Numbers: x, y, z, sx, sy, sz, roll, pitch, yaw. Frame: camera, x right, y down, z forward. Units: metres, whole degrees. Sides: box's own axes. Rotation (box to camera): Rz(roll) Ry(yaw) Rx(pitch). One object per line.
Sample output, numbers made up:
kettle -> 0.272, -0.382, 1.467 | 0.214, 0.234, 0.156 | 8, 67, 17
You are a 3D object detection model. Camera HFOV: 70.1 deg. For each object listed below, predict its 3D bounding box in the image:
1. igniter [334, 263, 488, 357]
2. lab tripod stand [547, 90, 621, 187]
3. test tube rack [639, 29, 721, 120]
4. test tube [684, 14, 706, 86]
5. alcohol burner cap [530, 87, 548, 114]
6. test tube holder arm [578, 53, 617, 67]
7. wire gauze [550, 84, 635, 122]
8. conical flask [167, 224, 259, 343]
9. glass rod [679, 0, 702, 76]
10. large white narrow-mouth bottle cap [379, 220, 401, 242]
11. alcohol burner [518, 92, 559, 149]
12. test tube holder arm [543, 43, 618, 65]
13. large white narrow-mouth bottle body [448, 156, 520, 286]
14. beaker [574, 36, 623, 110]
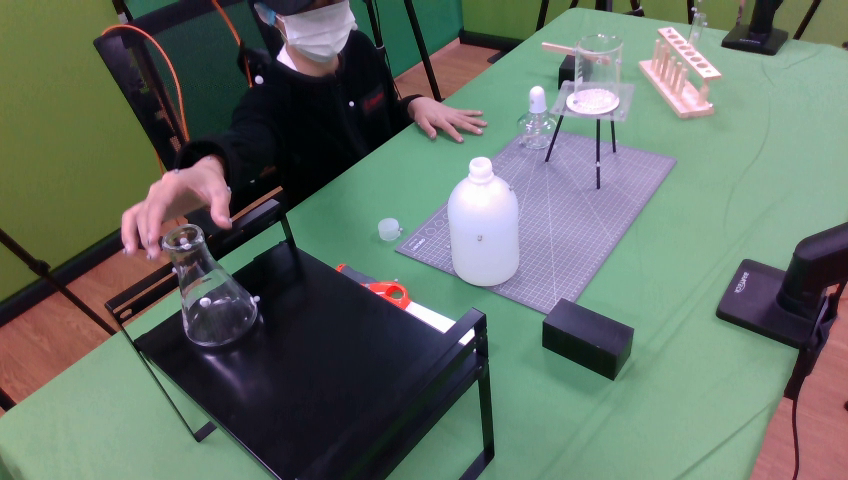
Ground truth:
igniter -> -0.030, 0.095, 0.871 | 0.274, 0.025, 0.057 | 23, 60, 31
lab tripod stand -> 0.289, -0.184, 1.062 | 0.148, 0.132, 0.147 | -6, 41, 6
test tube rack -> 0.527, -0.351, 1.262 | 0.067, 0.085, 0.241 | -8, 40, 1
test tube -> 0.540, -0.378, 1.215 | 0.017, 0.151, 0.017 | -2, 44, 3
alcohol burner cap -> 0.212, -0.262, 1.126 | 0.034, 0.048, 0.033 | -8, 36, 7
test tube holder arm -> 0.376, -0.393, 1.314 | 0.087, 0.015, 0.010 | 25, 51, 32
wire gauze -> 0.285, -0.234, 1.021 | 0.124, 0.011, 0.121 | 8, 41, 23
conical flask -> -0.219, 0.041, 0.613 | 0.075, 0.122, 0.075 | -5, 40, 5
glass rod -> 0.543, -0.417, 1.233 | 0.008, 0.200, 0.008 | 1, 39, 0
large white narrow-mouth bottle cap -> -0.057, -0.015, 1.011 | 0.038, 0.024, 0.037 | -4, 40, 4
alcohol burner -> 0.218, -0.235, 1.149 | 0.078, 0.119, 0.077 | -5, 43, 5
test tube holder arm -> 0.344, -0.413, 1.341 | 0.177, 0.015, 0.013 | 25, 50, 31
large white narrow-mouth bottle body -> 0.086, -0.032, 0.869 | 0.102, 0.195, 0.101 | -4, 40, 4
beaker -> 0.285, -0.273, 0.990 | 0.073, 0.101, 0.084 | 15, 46, 27
